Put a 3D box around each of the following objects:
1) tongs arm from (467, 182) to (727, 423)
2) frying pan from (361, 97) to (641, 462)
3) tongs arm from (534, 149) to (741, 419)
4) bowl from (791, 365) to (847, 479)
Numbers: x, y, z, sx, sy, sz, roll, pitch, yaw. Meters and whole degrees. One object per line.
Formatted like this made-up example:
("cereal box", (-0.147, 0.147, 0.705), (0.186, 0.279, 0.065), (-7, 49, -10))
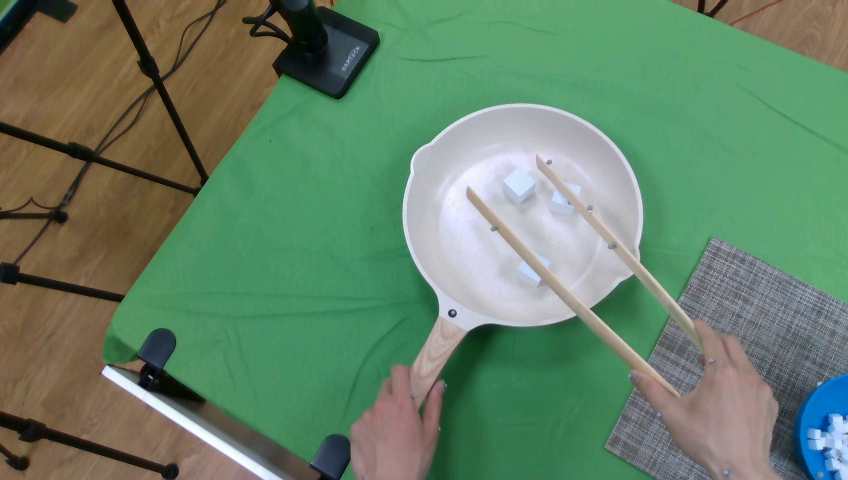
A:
("tongs arm", (0.161, 0.050, 0.662), (0.028, 0.028, 0.383), (-28, 53, -18))
("frying pan", (0.064, 0.043, 0.732), (0.305, 0.103, 0.486), (29, 69, 13))
("tongs arm", (0.211, 0.025, 0.673), (0.051, 0.027, 0.380), (-25, 52, -12))
("bowl", (0.466, 0.214, 0.657), (0.151, 0.077, 0.150), (-1, 73, 4))
